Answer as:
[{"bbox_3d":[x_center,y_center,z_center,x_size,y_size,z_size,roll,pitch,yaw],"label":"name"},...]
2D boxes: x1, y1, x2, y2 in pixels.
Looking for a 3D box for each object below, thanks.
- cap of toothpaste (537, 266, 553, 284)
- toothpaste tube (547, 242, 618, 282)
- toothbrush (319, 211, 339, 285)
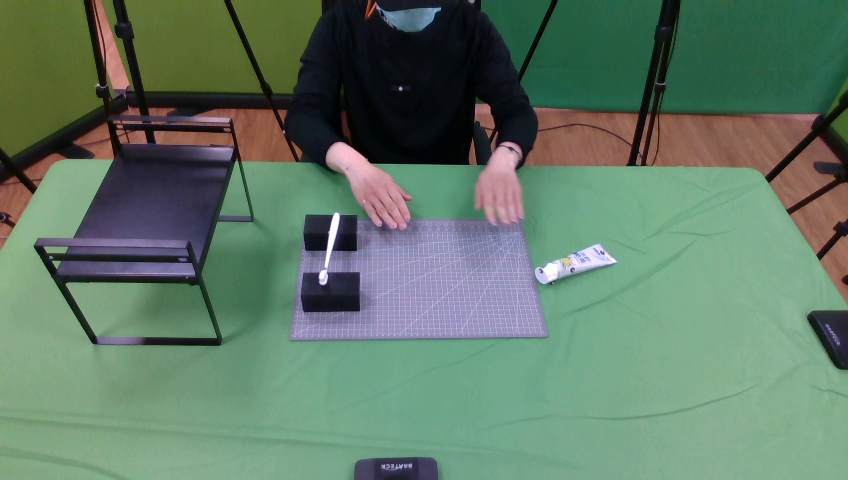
[{"bbox_3d":[0.227,0.064,1.136,0.011,0.037,0.037,-27,54,-26],"label":"cap of toothpaste"},{"bbox_3d":[0.298,0.043,1.169,0.165,0.034,0.054,-18,57,-24],"label":"toothpaste tube"},{"bbox_3d":[-0.172,0.009,1.103,0.014,0.017,0.180,-7,44,10],"label":"toothbrush"}]
